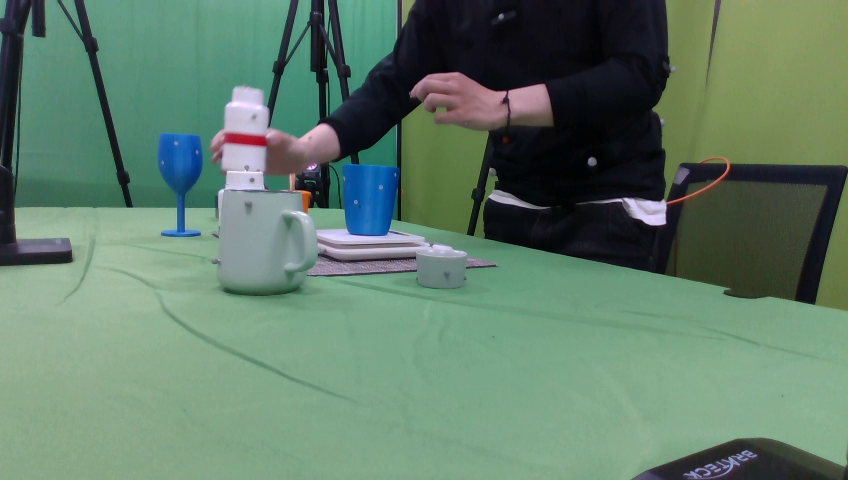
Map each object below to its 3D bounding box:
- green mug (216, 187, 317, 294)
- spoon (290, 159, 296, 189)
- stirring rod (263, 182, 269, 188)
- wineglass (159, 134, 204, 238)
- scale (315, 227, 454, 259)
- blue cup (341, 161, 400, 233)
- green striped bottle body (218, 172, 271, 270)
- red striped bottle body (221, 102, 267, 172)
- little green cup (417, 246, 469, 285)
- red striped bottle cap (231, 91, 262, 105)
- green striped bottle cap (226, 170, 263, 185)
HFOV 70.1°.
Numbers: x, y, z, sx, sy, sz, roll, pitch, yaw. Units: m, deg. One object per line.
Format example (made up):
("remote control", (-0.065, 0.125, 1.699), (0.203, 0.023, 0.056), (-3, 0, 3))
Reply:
("green mug", (-0.157, 0.000, 0.629), (0.124, 0.105, 0.093), (7, 9, 37))
("spoon", (-0.273, -0.102, 1.252), (0.042, 0.193, 0.021), (7, -38, -17))
("stirring rod", (-0.309, -0.098, 1.209), (0.006, 0.177, 0.014), (-39, 30, -4))
("wineglass", (-0.415, -0.093, 1.039), (0.074, 0.172, 0.073), (2, 8, 0))
("scale", (-0.066, 0.001, 0.906), (0.202, 0.031, 0.148), (-2, 8, -31))
("blue cup", (-0.080, -0.062, 0.883), (0.093, 0.100, 0.092), (2, 4, 0))
("green striped bottle body", (-0.223, -0.025, 0.755), (0.063, 0.119, 0.063), (1, 7, 0))
("red striped bottle body", (-0.273, -0.162, 0.920), (0.063, 0.119, 0.063), (5, 8, 0))
("little green cup", (0.021, 0.029, 0.701), (0.061, 0.038, 0.061), (1, 6, 0))
("red striped bottle cap", (-0.268, -0.214, 0.913), (0.044, 0.017, 0.044), (3, 9, 0))
("green striped bottle cap", (-0.222, -0.077, 0.748), (0.044, 0.020, 0.044), (1, 7, 0))
